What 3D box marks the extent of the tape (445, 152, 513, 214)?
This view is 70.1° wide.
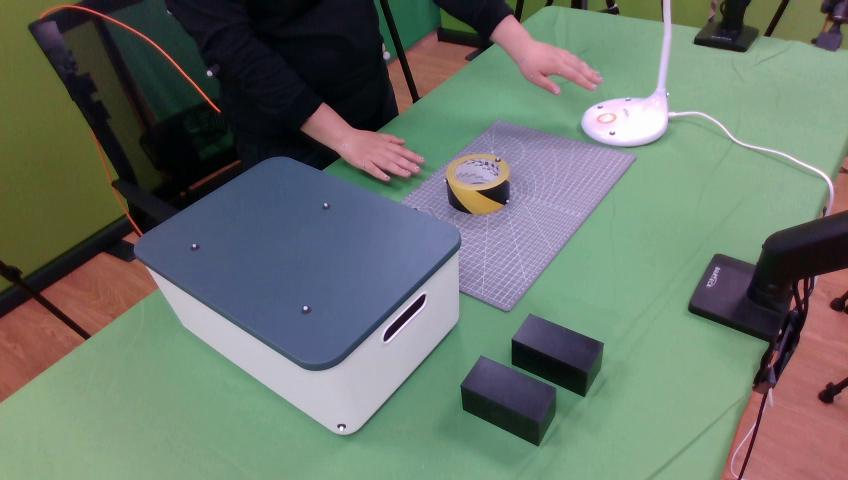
[{"bbox_3d":[0.095,-0.099,1.042,0.117,0.053,0.116,-4,41,4],"label":"tape"}]

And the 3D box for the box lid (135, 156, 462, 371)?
[{"bbox_3d":[-0.162,0.004,0.765,0.368,0.015,0.264,23,49,31],"label":"box lid"}]

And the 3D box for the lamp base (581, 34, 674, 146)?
[{"bbox_3d":[0.392,-0.291,1.129,0.180,0.181,0.159,-11,41,-8],"label":"lamp base"}]

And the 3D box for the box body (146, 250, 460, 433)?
[{"bbox_3d":[-0.156,0.059,0.814,0.361,0.161,0.255,24,49,31],"label":"box body"}]
